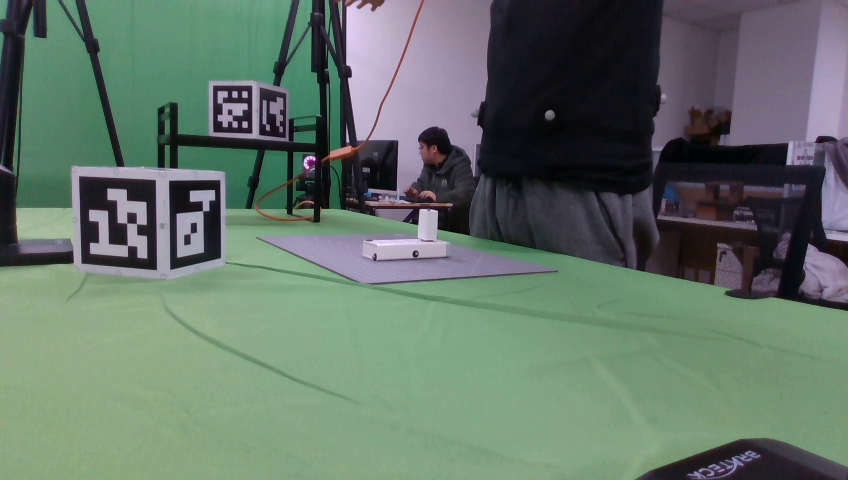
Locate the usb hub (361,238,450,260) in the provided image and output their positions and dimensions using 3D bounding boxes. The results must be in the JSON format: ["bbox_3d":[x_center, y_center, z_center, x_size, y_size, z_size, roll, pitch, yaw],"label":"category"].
[{"bbox_3d":[-0.026,0.013,0.894,0.126,0.025,0.049,-2,7,-31],"label":"usb hub"}]

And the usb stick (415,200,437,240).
[{"bbox_3d":[0.003,-0.030,0.902,0.027,0.059,0.021,1,14,30],"label":"usb stick"}]
